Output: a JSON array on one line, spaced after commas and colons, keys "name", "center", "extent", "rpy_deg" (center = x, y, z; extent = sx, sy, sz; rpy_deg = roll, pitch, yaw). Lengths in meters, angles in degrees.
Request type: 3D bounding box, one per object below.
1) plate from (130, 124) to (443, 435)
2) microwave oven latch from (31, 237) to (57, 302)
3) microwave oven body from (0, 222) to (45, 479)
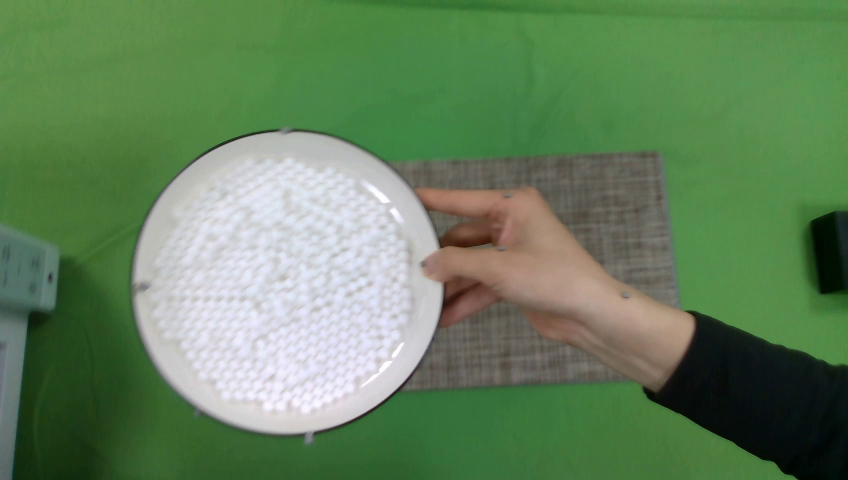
[{"name": "plate", "center": [-0.091, 0.026, 0.422], "extent": [0.209, 0.038, 0.208], "rpy_deg": [0, 85, -5]}, {"name": "microwave oven latch", "center": [-0.479, 0.037, 0.753], "extent": [0.030, 0.029, 0.079], "rpy_deg": [2, 79, -2]}, {"name": "microwave oven body", "center": [-0.619, 0.193, 0.618], "extent": [0.326, 0.261, 0.439], "rpy_deg": [-2, 79, -2]}]
